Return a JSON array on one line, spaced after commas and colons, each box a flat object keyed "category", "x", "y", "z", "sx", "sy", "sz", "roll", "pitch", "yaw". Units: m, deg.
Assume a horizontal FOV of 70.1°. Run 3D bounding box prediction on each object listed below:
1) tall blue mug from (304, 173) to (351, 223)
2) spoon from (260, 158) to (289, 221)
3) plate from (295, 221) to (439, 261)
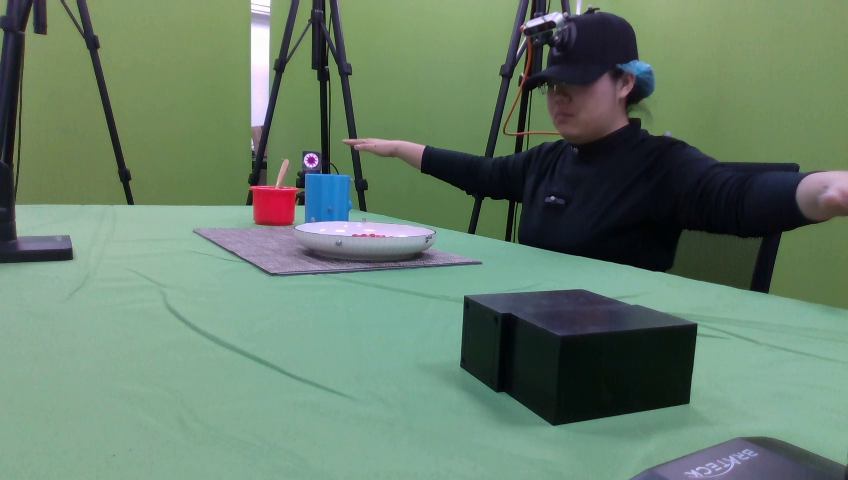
[{"category": "tall blue mug", "x": -0.178, "y": -0.063, "z": 1.062, "sx": 0.078, "sy": 0.108, "sz": 0.106, "roll": -5, "pitch": 10, "yaw": -38}, {"category": "spoon", "x": -0.308, "y": -0.110, "z": 1.277, "sx": 0.041, "sy": 0.022, "sz": 0.193, "roll": -1, "pitch": 51, "yaw": 6}, {"category": "plate", "x": -0.083, "y": 0.001, "z": 0.885, "sx": 0.208, "sy": 0.039, "sz": 0.207, "roll": 2, "pitch": 7, "yaw": 0}]
